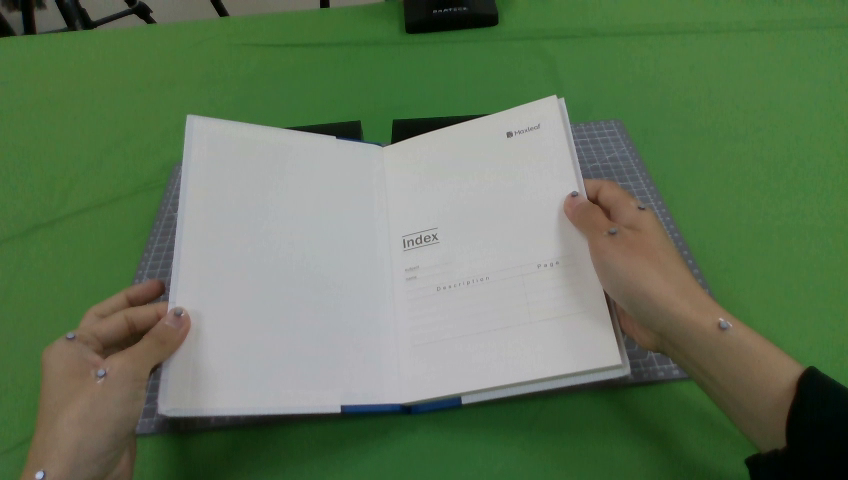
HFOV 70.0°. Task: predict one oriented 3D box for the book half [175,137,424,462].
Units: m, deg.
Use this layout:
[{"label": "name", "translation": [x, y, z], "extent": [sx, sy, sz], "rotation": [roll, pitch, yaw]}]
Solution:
[{"label": "book half", "translation": [-0.076, 0.031, 0.392], "extent": [0.144, 0.007, 0.208], "rotation": [5, 64, -21]}]
